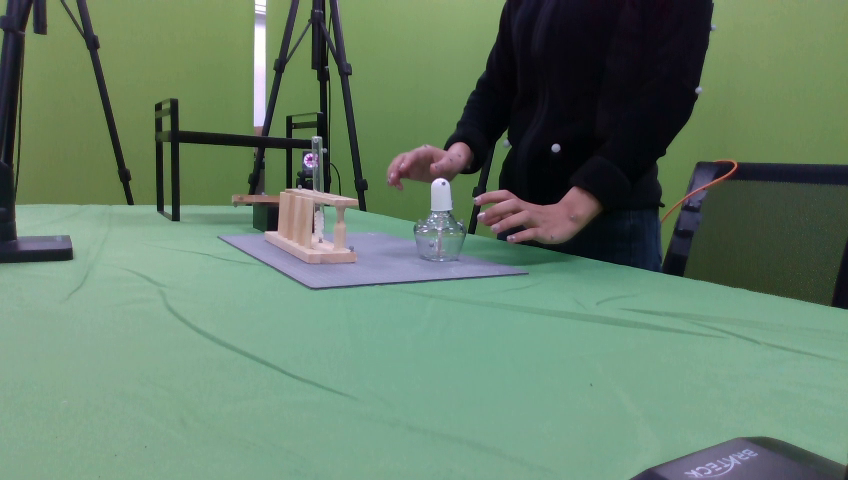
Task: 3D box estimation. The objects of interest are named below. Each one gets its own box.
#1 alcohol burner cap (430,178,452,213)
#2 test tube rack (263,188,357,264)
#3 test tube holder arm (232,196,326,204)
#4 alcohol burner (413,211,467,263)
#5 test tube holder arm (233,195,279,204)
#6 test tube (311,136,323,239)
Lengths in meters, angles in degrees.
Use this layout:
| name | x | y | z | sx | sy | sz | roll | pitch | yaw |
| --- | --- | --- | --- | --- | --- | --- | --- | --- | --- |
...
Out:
| name | x | y | z | sx | sy | sz | roll | pitch | yaw |
| --- | --- | --- | --- | --- | --- | --- | --- | --- | --- |
| alcohol burner cap | 0.024 | -0.064 | 0.859 | 0.034 | 0.048 | 0.034 | -1 | 12 | 1 |
| test tube rack | -0.175 | -0.027 | 0.890 | 0.067 | 0.085 | 0.241 | 0 | 8 | -28 |
| test tube holder arm | -0.271 | -0.076 | 1.145 | 0.179 | 0.015 | 0.013 | -1 | 1 | -32 |
| alcohol burner | 0.023 | -0.029 | 0.864 | 0.078 | 0.119 | 0.078 | 1 | 7 | 0 |
| test tube holder arm | -0.307 | -0.075 | 1.117 | 0.088 | 0.015 | 0.010 | -1 | 1 | -31 |
| test tube | -0.155 | -0.076 | 0.879 | 0.017 | 0.150 | 0.017 | 0 | 7 | 0 |
